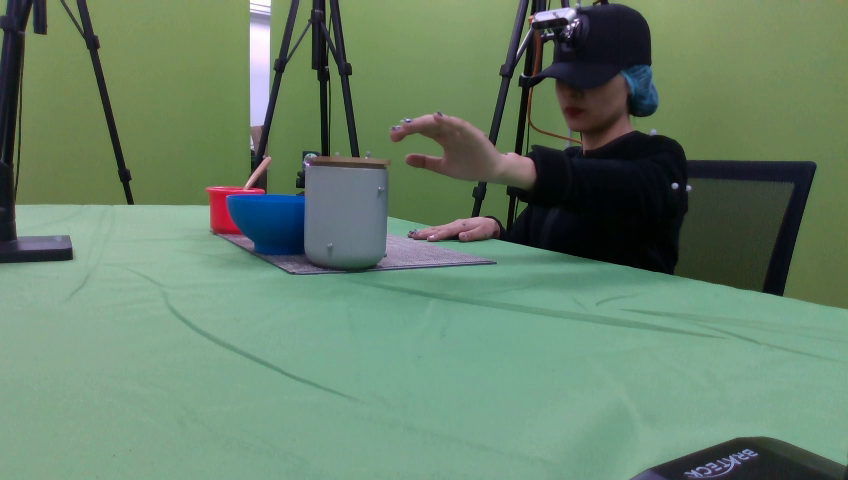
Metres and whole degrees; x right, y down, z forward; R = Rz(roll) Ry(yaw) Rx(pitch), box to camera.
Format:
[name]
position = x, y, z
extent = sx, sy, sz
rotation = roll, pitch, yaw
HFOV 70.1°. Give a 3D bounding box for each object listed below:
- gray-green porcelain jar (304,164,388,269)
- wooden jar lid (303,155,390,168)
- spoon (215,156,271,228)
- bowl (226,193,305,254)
[gray-green porcelain jar]
position = -0.099, -0.031, 0.770
extent = 0.106, 0.126, 0.106
rotation = 2, 7, 0
[wooden jar lid]
position = -0.097, -0.095, 0.761
extent = 0.108, 0.020, 0.108
rotation = 1, 7, 0
[spoon]
position = -0.319, -0.090, 1.091
extent = 0.041, 0.022, 0.193
rotation = 7, 52, 17
[bowl]
position = -0.205, -0.024, 0.866
extent = 0.151, 0.077, 0.151
rotation = 3, 7, 0
